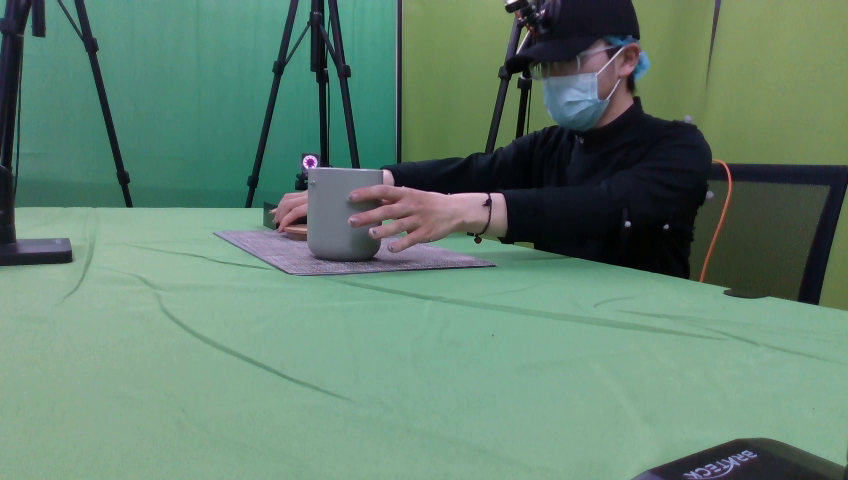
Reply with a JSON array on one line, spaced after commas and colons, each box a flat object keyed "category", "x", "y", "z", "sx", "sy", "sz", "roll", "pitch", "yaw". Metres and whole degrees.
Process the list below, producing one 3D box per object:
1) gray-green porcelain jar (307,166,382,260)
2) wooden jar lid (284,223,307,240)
[{"category": "gray-green porcelain jar", "x": -0.112, "y": -0.039, "z": 0.850, "sx": 0.106, "sy": 0.126, "sz": 0.106, "roll": 1, "pitch": 7, "yaw": 0}, {"category": "wooden jar lid", "x": -0.190, "y": -0.015, "z": 1.057, "sx": 0.108, "sy": 0.020, "sz": 0.108, "roll": 3, "pitch": 6, "yaw": 0}]
